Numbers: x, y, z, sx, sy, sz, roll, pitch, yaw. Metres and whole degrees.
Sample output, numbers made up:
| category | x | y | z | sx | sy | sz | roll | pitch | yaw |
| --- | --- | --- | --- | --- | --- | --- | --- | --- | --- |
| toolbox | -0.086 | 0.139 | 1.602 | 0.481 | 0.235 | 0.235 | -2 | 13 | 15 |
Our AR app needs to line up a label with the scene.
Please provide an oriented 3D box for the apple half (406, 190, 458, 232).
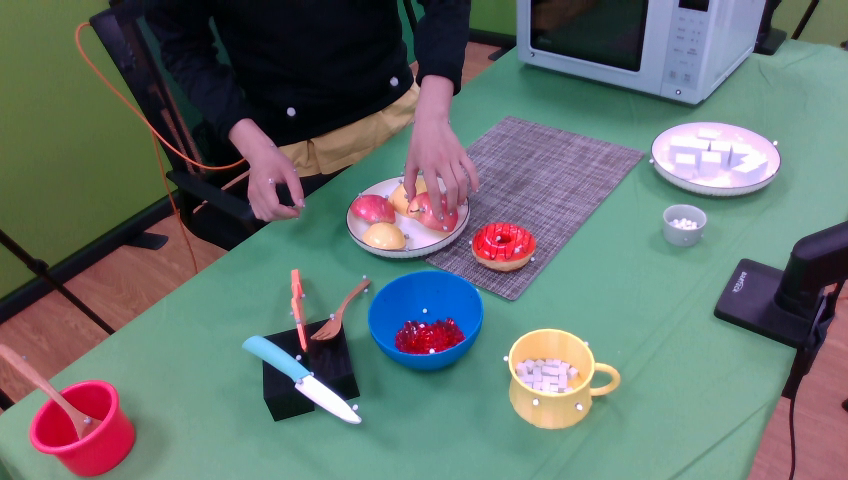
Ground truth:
| category | x | y | z | sx | sy | sz | roll | pitch | yaw |
| --- | --- | --- | --- | --- | --- | --- | --- | --- | --- |
| apple half | 0.019 | -0.050 | 0.959 | 0.075 | 0.053 | 0.080 | 15 | 13 | -34 |

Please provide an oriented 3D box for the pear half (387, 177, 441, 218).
| category | x | y | z | sx | sy | sz | roll | pitch | yaw |
| --- | --- | --- | --- | --- | --- | --- | --- | --- | --- |
| pear half | -0.029 | -0.078 | 1.033 | 0.109 | 0.056 | 0.076 | -3 | 35 | 17 |

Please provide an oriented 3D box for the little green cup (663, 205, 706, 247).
| category | x | y | z | sx | sy | sz | roll | pitch | yaw |
| --- | --- | --- | --- | --- | --- | --- | --- | --- | --- |
| little green cup | 0.396 | -0.021 | 0.926 | 0.061 | 0.039 | 0.061 | -4 | 40 | 4 |

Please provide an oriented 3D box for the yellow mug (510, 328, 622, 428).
| category | x | y | z | sx | sy | sz | roll | pitch | yaw |
| --- | --- | --- | --- | --- | --- | --- | --- | --- | --- |
| yellow mug | 0.168 | 0.164 | 0.722 | 0.130 | 0.064 | 0.099 | 0 | 40 | 8 |

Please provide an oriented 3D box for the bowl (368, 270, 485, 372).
| category | x | y | z | sx | sy | sz | roll | pitch | yaw |
| --- | --- | --- | --- | --- | --- | --- | --- | --- | --- |
| bowl | 0.007 | 0.118 | 0.791 | 0.151 | 0.077 | 0.150 | -5 | 40 | 4 |

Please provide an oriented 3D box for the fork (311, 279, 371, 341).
| category | x | y | z | sx | sy | sz | roll | pitch | yaw |
| --- | --- | --- | --- | --- | --- | --- | --- | --- | --- |
| fork | -0.108 | 0.092 | 0.832 | 0.028 | 0.019 | 0.207 | -6 | 19 | 15 |

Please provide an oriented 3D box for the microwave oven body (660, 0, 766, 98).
| category | x | y | z | sx | sy | sz | roll | pitch | yaw |
| --- | --- | --- | --- | --- | --- | --- | --- | --- | --- |
| microwave oven body | 0.472 | -0.513 | 1.317 | 0.438 | 0.261 | 0.327 | 26 | 51 | 34 |

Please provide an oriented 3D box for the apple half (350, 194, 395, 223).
| category | x | y | z | sx | sy | sz | roll | pitch | yaw |
| --- | --- | --- | --- | --- | --- | --- | --- | --- | --- |
| apple half | -0.081 | -0.058 | 1.008 | 0.081 | 0.033 | 0.081 | 12 | 23 | -5 |

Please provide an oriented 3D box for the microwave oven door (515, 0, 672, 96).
| category | x | y | z | sx | sy | sz | roll | pitch | yaw |
| --- | --- | --- | --- | --- | --- | --- | --- | --- | --- |
| microwave oven door | 0.343 | -0.454 | 1.259 | 0.353 | 0.245 | 0.039 | 26 | 51 | 33 |

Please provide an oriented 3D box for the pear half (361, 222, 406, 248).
| category | x | y | z | sx | sy | sz | roll | pitch | yaw |
| --- | --- | --- | --- | --- | --- | --- | --- | --- | --- |
| pear half | -0.064 | -0.013 | 0.959 | 0.071 | 0.031 | 0.087 | 5 | 21 | -24 |

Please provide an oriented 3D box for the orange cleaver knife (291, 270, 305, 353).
| category | x | y | z | sx | sy | sz | roll | pitch | yaw |
| --- | --- | --- | --- | --- | --- | --- | --- | --- | --- |
| orange cleaver knife | -0.175 | 0.094 | 0.844 | 0.012 | 0.077 | 0.210 | -11 | 14 | -10 |

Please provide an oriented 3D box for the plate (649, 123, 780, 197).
| category | x | y | z | sx | sy | sz | roll | pitch | yaw |
| --- | --- | --- | --- | --- | --- | --- | --- | --- | --- |
| plate | 0.497 | -0.135 | 1.046 | 0.207 | 0.039 | 0.206 | -4 | 40 | 4 |

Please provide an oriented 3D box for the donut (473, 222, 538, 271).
| category | x | y | z | sx | sy | sz | roll | pitch | yaw |
| --- | --- | --- | --- | --- | --- | --- | --- | --- | --- |
| donut | 0.123 | 0.009 | 0.923 | 0.099 | 0.048 | 0.098 | -3 | 37 | 3 |

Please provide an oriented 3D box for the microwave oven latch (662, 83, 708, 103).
| category | x | y | z | sx | sy | sz | roll | pitch | yaw |
| --- | --- | --- | --- | --- | --- | --- | --- | --- | --- |
| microwave oven latch | 0.517 | -0.296 | 1.204 | 0.078 | 0.029 | 0.030 | 28 | 52 | 35 |

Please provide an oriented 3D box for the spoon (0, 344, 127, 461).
| category | x | y | z | sx | sy | sz | roll | pitch | yaw |
| --- | --- | --- | --- | --- | --- | --- | --- | --- | --- |
| spoon | -0.433 | 0.191 | 0.721 | 0.194 | 0.021 | 0.042 | 47 | 53 | -6 |

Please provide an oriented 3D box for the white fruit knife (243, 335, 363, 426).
| category | x | y | z | sx | sy | sz | roll | pitch | yaw |
| --- | --- | --- | --- | --- | --- | --- | --- | --- | --- |
| white fruit knife | -0.148 | 0.167 | 0.730 | 0.206 | 0.016 | 0.027 | 26 | 80 | 31 |

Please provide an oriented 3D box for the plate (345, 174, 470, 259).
| category | x | y | z | sx | sy | sz | roll | pitch | yaw |
| --- | --- | --- | --- | --- | --- | --- | --- | --- | --- |
| plate | -0.026 | -0.036 | 1.004 | 0.209 | 0.038 | 0.208 | -5 | 40 | 4 |
